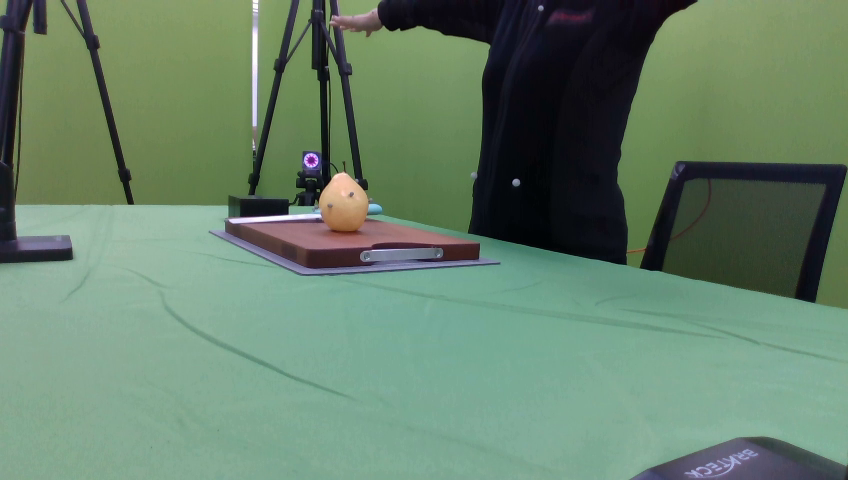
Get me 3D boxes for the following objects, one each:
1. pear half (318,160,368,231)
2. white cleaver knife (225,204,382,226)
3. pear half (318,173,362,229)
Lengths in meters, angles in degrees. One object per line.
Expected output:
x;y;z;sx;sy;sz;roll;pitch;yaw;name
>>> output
-0.120;-0.067;0.927;0.077;0.110;0.055;-7;11;-29;pear half
-0.202;-0.039;1.069;0.288;0.021;0.065;-8;17;-32;white cleaver knife
-0.136;-0.062;0.959;0.071;0.088;0.031;-7;10;-29;pear half
